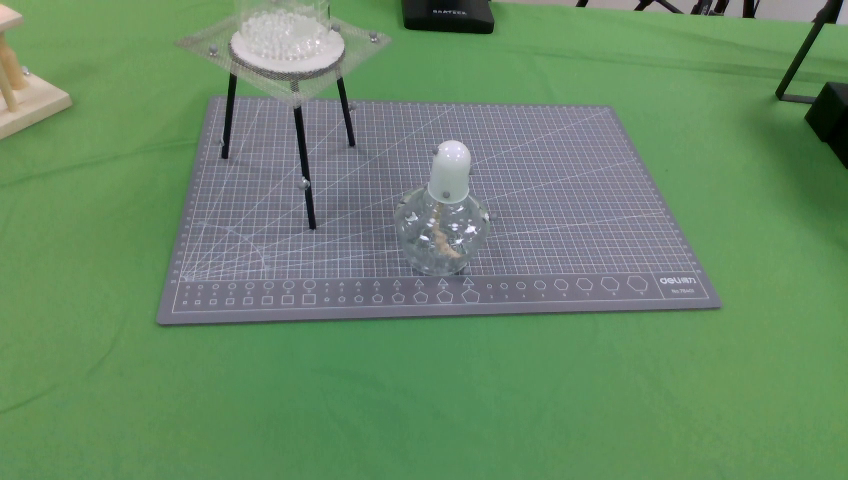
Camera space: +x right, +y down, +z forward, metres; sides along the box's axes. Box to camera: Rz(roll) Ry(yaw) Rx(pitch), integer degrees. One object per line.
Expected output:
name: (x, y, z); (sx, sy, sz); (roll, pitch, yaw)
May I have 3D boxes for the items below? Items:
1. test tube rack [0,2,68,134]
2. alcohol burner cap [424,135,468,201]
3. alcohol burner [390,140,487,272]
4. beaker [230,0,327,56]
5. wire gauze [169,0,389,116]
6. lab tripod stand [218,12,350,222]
test tube rack: (-0.444, -0.114, 0.512); (0.066, 0.086, 0.241); (28, 49, 18)
alcohol burner cap: (0.017, -0.055, 0.450); (0.034, 0.048, 0.033); (3, 51, -3)
alcohol burner: (0.014, -0.031, 0.477); (0.078, 0.120, 0.077); (5, 45, -5)
beaker: (-0.109, -0.193, 0.439); (0.073, 0.101, 0.084); (36, 53, 22)
wire gauze: (-0.110, -0.155, 0.472); (0.124, 0.011, 0.121); (31, 53, 15)
lab tripod stand: (-0.114, -0.110, 0.519); (0.148, 0.132, 0.147); (6, 47, -5)
